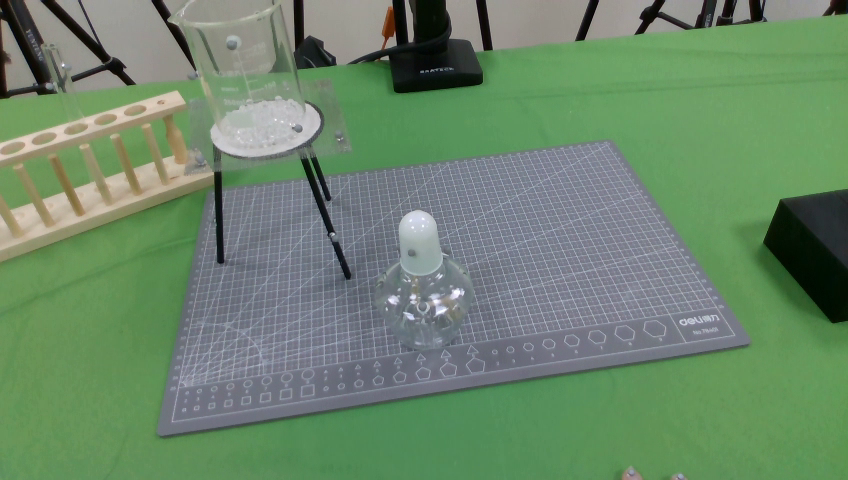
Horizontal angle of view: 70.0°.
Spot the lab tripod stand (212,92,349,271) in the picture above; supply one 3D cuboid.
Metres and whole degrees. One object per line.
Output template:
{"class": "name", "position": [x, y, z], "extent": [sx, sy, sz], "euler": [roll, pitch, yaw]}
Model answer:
{"class": "lab tripod stand", "position": [-0.126, -0.049, 0.533], "extent": [0.148, 0.133, 0.147], "euler": [-2, 44, 3]}

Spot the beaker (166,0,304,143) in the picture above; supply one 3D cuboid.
{"class": "beaker", "position": [-0.135, -0.131, 0.453], "extent": [0.084, 0.101, 0.073], "euler": [-6, 42, -1]}

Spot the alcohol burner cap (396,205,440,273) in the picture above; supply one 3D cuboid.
{"class": "alcohol burner cap", "position": [-0.006, -0.004, 0.436], "extent": [0.034, 0.048, 0.033], "euler": [-3, 44, 3]}

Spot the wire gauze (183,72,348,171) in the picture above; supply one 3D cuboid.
{"class": "wire gauze", "position": [-0.130, -0.097, 0.488], "extent": [0.125, 0.011, 0.120], "euler": [-14, 41, -6]}

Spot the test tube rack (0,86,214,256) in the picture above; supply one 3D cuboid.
{"class": "test tube rack", "position": [-0.349, -0.069, 0.611], "extent": [0.243, 0.086, 0.066], "euler": [-25, 46, -21]}

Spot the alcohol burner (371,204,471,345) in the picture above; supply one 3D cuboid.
{"class": "alcohol burner", "position": [-0.003, 0.023, 0.460], "extent": [0.078, 0.120, 0.077], "euler": [-2, 40, 2]}

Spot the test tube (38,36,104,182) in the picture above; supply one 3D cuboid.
{"class": "test tube", "position": [-0.345, -0.124, 0.596], "extent": [0.017, 0.151, 0.017], "euler": [0, 36, 0]}
